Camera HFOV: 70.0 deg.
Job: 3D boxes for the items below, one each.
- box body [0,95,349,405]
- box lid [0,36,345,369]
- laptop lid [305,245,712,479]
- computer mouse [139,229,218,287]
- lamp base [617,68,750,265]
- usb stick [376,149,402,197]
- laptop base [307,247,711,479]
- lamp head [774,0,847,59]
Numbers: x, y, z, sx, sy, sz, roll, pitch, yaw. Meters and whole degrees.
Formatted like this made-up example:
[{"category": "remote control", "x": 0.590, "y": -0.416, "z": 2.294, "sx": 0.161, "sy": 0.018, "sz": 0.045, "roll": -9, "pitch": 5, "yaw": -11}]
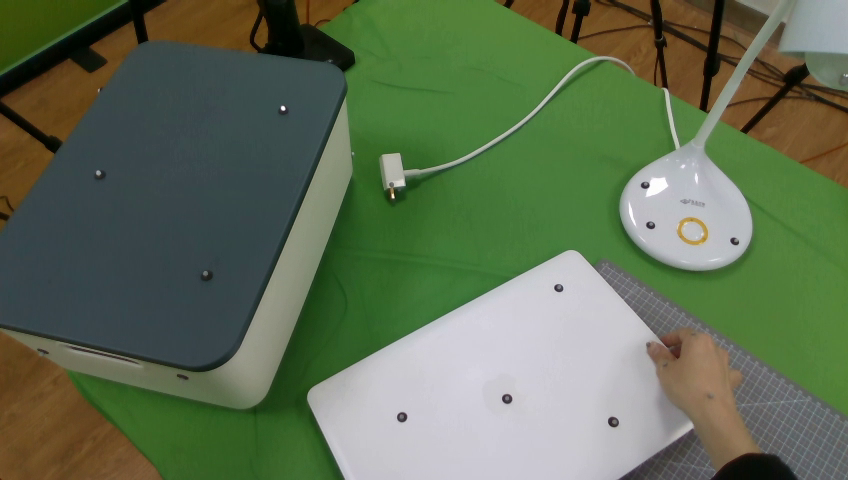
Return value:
[{"category": "box body", "x": -0.249, "y": -0.025, "z": 0.666, "sx": 0.254, "sy": 0.162, "sz": 0.361, "roll": 11, "pitch": 59, "yaw": 6}, {"category": "box lid", "x": -0.248, "y": -0.066, "z": 0.605, "sx": 0.263, "sy": 0.015, "sz": 0.368, "roll": 11, "pitch": 59, "yaw": 7}, {"category": "laptop lid", "x": 0.083, "y": 0.158, "z": 0.615, "sx": 0.357, "sy": 0.013, "sz": 0.239, "roll": -25, "pitch": 58, "yaw": -14}, {"category": "computer mouse", "x": -0.283, "y": 0.013, "z": 0.701, "sx": 0.063, "sy": 0.041, "sz": 0.116, "roll": -16, "pitch": 19, "yaw": 2}, {"category": "lamp base", "x": 0.321, "y": -0.091, "z": 0.696, "sx": 0.160, "sy": 0.182, "sz": 0.177, "roll": 1, "pitch": 55, "yaw": 1}, {"category": "usb stick", "x": -0.044, "y": -0.085, "z": 0.778, "sx": 0.027, "sy": 0.021, "sz": 0.059, "roll": -5, "pitch": 88, "yaw": -21}, {"category": "laptop base", "x": 0.083, "y": 0.164, "z": 0.625, "sx": 0.354, "sy": 0.023, "sz": 0.233, "roll": -27, "pitch": 59, "yaw": -15}, {"category": "lamp head", "x": 0.322, "y": -0.189, "z": 0.428, "sx": 0.112, "sy": 0.112, "sz": 0.123, "roll": 8, "pitch": 102, "yaw": 5}]
